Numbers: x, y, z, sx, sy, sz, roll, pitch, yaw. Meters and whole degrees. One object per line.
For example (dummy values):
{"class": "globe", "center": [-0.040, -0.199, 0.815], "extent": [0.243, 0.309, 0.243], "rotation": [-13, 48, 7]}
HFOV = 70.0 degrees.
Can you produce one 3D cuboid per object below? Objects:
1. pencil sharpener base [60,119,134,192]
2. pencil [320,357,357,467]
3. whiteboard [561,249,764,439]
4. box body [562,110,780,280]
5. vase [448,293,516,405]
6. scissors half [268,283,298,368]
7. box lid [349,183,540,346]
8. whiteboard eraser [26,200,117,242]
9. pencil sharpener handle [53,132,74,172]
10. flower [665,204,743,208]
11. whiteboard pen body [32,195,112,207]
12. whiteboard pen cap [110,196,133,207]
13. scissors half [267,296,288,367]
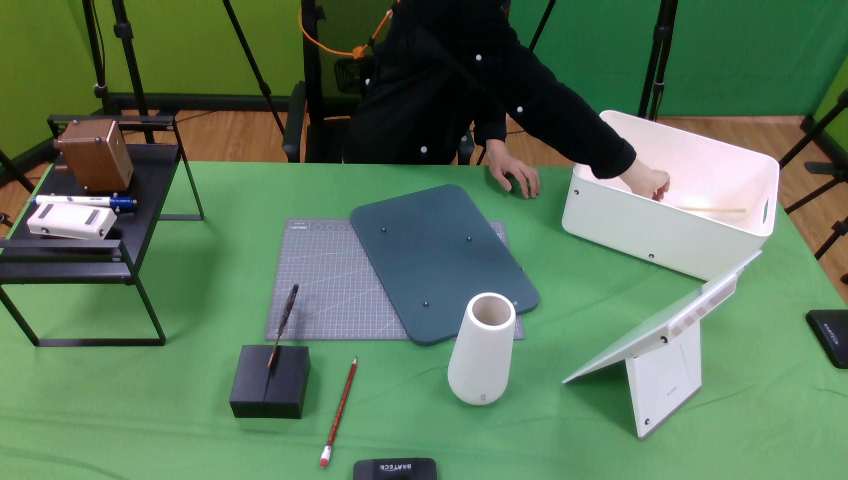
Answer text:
{"class": "pencil sharpener base", "center": [-0.528, -0.135, 0.979], "extent": [0.077, 0.107, 0.061], "rotation": [-4, 47, -7]}
{"class": "pencil", "center": [-0.130, 0.261, 0.946], "extent": [0.012, 0.012, 0.193], "rotation": [10, 45, 5]}
{"class": "whiteboard", "center": [0.386, 0.176, 0.905], "extent": [0.217, 0.306, 0.143], "rotation": [-26, 72, -26]}
{"class": "box body", "center": [0.486, -0.088, 1.222], "extent": [0.363, 0.161, 0.253], "rotation": [20, 48, 15]}
{"class": "vase", "center": [0.091, 0.169, 0.921], "extent": [0.098, 0.201, 0.097], "rotation": [3, 47, -3]}
{"class": "scissors half", "center": [-0.230, 0.135, 0.986], "extent": [0.013, 0.040, 0.174], "rotation": [19, 43, -11]}
{"class": "box lid", "center": [0.030, 0.031, 1.176], "extent": [0.263, 0.015, 0.369], "rotation": [-16, 49, -18]}
{"class": "whiteboard eraser", "center": [-0.532, -0.026, 0.919], "extent": [0.113, 0.042, 0.055], "rotation": [7, 45, 3]}
{"class": "pencil sharpener handle", "center": [-0.578, -0.138, 0.961], "extent": [0.031, 0.068, 0.036], "rotation": [-4, 34, -7]}
{"class": "flower", "center": [0.477, -0.070, 1.254], "extent": [0.362, 0.044, 0.038], "rotation": [-1, 88, 0]}
{"class": "whiteboard pen body", "center": [-0.543, -0.061, 0.961], "extent": [0.141, 0.017, 0.017], "rotation": [1, 46, -10]}
{"class": "whiteboard pen cap", "center": [-0.485, -0.061, 0.972], "extent": [0.033, 0.018, 0.018], "rotation": [0, 47, -8]}
{"class": "scissors half", "center": [-0.239, 0.150, 0.997], "extent": [0.013, 0.040, 0.174], "rotation": [24, 24, -13]}
